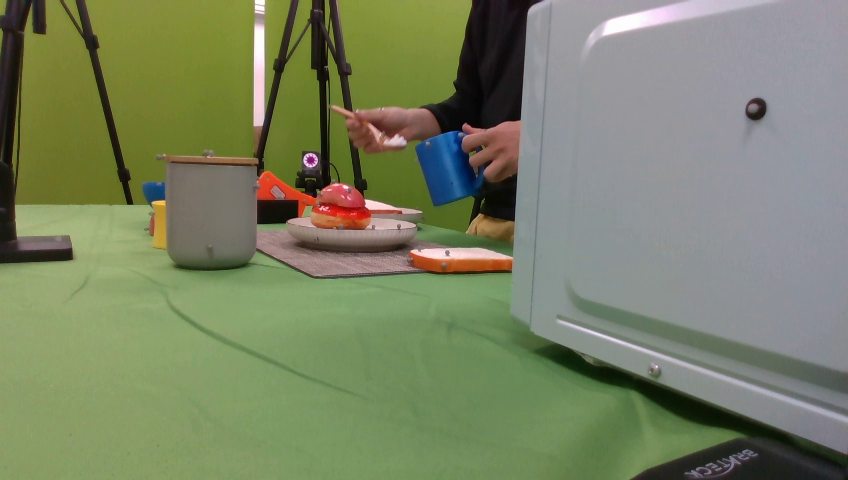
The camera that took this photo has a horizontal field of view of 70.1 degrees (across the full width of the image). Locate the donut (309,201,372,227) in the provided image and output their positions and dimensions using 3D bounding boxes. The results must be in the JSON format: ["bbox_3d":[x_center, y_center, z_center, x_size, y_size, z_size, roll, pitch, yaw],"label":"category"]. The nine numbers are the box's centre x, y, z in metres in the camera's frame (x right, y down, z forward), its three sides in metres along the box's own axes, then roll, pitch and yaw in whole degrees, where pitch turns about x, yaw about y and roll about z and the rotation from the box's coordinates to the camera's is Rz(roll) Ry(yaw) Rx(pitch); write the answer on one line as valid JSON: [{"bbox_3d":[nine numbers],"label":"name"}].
[{"bbox_3d":[-0.132,-0.042,0.959,0.099,0.048,0.099,3,8,0],"label":"donut"}]

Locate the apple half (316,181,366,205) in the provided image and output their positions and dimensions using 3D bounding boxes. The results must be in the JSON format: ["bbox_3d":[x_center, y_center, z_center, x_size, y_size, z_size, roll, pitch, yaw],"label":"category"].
[{"bbox_3d":[-0.128,-0.077,0.954,0.081,0.033,0.081,6,13,-1],"label":"apple half"}]

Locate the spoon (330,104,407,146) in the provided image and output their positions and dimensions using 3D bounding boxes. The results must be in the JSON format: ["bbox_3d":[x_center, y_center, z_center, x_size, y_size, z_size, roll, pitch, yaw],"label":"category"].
[{"bbox_3d":[-0.100,-0.201,1.039,0.042,0.021,0.193,-12,40,-44],"label":"spoon"}]

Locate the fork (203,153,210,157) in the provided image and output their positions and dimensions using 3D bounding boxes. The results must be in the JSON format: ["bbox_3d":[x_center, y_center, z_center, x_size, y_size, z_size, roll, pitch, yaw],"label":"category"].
[{"bbox_3d":[-0.480,-0.135,1.411,0.028,0.018,0.207,1,-34,0],"label":"fork"}]

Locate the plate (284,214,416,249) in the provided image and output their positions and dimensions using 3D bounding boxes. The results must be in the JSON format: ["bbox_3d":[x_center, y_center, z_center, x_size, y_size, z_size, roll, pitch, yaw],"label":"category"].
[{"bbox_3d":[-0.116,-0.014,0.967,0.208,0.039,0.207,2,7,0],"label":"plate"}]

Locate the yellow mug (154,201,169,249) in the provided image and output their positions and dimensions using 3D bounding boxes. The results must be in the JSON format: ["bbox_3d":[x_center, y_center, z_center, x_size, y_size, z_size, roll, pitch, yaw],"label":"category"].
[{"bbox_3d":[-0.337,-0.022,0.899,0.130,0.064,0.100,8,9,34],"label":"yellow mug"}]

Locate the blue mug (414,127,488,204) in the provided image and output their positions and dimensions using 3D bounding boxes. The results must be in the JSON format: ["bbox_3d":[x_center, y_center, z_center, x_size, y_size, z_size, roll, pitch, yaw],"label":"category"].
[{"bbox_3d":[0.052,-0.126,0.979,0.116,0.106,0.083,-18,1,37],"label":"blue mug"}]

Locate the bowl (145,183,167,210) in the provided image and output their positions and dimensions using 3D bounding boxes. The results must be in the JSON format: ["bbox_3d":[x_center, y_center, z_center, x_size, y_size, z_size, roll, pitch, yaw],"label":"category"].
[{"bbox_3d":[-0.459,-0.068,1.175,0.151,0.077,0.151,2,7,0],"label":"bowl"}]

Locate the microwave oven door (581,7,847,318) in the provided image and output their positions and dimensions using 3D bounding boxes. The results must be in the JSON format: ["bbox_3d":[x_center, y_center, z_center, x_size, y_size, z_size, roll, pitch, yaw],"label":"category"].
[{"bbox_3d":[0.295,-0.067,0.569,0.358,0.243,0.039,-3,8,-31],"label":"microwave oven door"}]

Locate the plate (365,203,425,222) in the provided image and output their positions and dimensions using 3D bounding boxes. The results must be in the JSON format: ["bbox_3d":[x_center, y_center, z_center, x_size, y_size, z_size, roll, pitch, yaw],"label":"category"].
[{"bbox_3d":[-0.102,-0.053,1.299,0.209,0.038,0.209,2,8,0],"label":"plate"}]

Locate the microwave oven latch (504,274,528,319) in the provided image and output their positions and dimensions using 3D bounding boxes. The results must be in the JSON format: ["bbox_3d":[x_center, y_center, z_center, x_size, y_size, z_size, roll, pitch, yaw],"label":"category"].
[{"bbox_3d":[0.100,0.041,0.470,0.079,0.029,0.030,-1,7,-27],"label":"microwave oven latch"}]

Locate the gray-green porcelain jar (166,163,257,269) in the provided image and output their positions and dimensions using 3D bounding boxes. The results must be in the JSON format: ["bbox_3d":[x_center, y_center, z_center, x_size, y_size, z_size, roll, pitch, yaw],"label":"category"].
[{"bbox_3d":[-0.263,-0.031,0.754,0.106,0.126,0.106,2,7,0],"label":"gray-green porcelain jar"}]

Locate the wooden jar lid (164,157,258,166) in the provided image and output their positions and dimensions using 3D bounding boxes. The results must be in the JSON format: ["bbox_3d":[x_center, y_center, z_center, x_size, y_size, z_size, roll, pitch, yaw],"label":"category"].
[{"bbox_3d":[-0.261,-0.093,0.746,0.108,0.020,0.108,0,9,0],"label":"wooden jar lid"}]

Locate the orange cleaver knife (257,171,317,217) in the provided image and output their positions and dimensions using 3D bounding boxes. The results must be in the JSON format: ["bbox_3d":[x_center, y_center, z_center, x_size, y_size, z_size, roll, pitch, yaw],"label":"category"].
[{"bbox_3d":[-0.283,-0.087,1.343,0.212,0.077,0.012,24,-16,-41],"label":"orange cleaver knife"}]

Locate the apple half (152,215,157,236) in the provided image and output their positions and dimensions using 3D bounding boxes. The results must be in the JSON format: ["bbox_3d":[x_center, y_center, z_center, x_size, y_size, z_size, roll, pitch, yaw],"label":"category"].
[{"bbox_3d":[-0.415,-0.034,1.017,0.081,0.053,0.074,1,10,-9],"label":"apple half"}]

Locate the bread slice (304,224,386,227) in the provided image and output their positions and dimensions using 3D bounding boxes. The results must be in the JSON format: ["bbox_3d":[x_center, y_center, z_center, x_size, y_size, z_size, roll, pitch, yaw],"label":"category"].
[{"bbox_3d":[-0.121,-0.015,0.970,0.106,0.018,0.135,9,9,41],"label":"bread slice"}]

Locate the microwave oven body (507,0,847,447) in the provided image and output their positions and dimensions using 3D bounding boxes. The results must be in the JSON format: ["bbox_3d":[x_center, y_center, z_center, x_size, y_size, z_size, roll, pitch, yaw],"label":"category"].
[{"bbox_3d":[0.331,-0.042,0.425,0.444,0.260,0.324,-2,8,-31],"label":"microwave oven body"}]

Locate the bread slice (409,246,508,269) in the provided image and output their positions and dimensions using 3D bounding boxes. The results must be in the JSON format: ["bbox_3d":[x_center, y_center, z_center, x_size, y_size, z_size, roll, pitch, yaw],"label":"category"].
[{"bbox_3d":[0.048,0.022,0.816,0.132,0.019,0.104,0,7,-24],"label":"bread slice"}]
